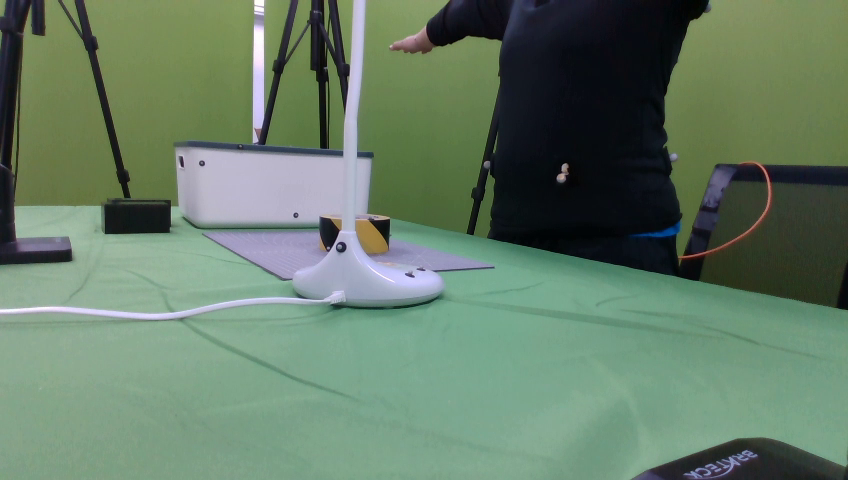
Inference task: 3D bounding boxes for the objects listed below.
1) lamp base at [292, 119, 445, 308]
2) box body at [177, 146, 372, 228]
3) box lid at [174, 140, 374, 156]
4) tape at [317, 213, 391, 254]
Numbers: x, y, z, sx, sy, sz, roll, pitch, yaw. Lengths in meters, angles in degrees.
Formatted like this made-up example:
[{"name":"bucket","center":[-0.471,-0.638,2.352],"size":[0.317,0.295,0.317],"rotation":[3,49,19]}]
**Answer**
[{"name":"lamp base","center":[-0.056,-0.030,0.616],"size":[0.160,0.180,0.179],"rotation":[3,10,8]},{"name":"box body","center":[-0.319,-0.118,1.280],"size":[0.366,0.160,0.253],"rotation":[-1,8,-29]},{"name":"box lid","center":[-0.318,-0.190,1.270],"size":[0.373,0.015,0.262],"rotation":[-1,8,-29]},{"name":"tape","center":[-0.109,-0.012,0.938],"size":[0.117,0.052,0.117],"rotation":[2,7,0]}]
